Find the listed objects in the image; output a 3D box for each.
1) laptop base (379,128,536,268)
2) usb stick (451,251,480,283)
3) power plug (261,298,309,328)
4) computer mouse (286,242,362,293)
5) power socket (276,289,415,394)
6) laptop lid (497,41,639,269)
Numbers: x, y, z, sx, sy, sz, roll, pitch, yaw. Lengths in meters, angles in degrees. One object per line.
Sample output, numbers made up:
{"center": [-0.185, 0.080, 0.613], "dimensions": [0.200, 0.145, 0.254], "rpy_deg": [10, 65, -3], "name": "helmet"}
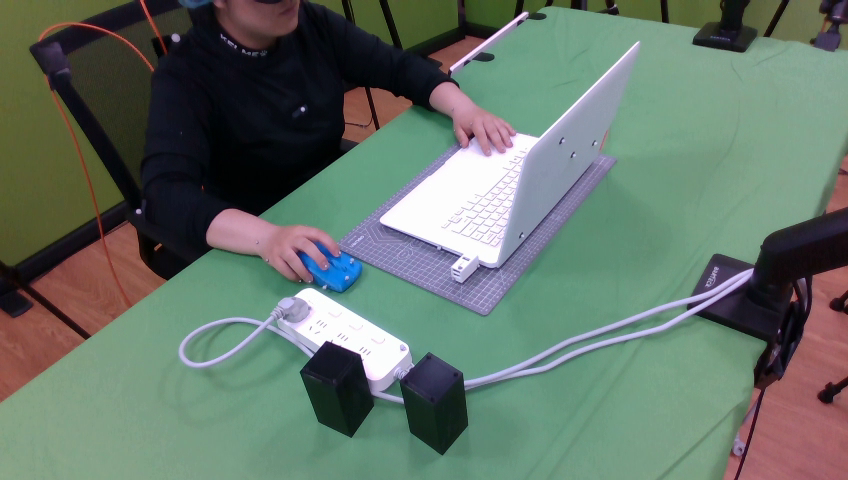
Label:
{"center": [0.118, -0.088, 1.059], "dimensions": [0.233, 0.023, 0.355], "rpy_deg": [19, 47, 32], "name": "laptop base"}
{"center": [0.066, 0.036, 0.899], "dimensions": [0.021, 0.027, 0.059], "rpy_deg": [23, 45, 32], "name": "usb stick"}
{"center": [-0.192, 0.107, 0.831], "dimensions": [0.073, 0.053, 0.035], "rpy_deg": [-32, 43, -25], "name": "power plug"}
{"center": [-0.156, 0.039, 0.935], "dimensions": [0.116, 0.041, 0.063], "rpy_deg": [20, 46, 24], "name": "computer mouse"}
{"center": [-0.114, 0.132, 0.821], "dimensions": [0.225, 0.033, 0.072], "rpy_deg": [25, 49, 33], "name": "power socket"}
{"center": [0.221, -0.131, 0.913], "dimensions": [0.013, 0.242, 0.357], "rpy_deg": [31, 51, 21], "name": "laptop lid"}
